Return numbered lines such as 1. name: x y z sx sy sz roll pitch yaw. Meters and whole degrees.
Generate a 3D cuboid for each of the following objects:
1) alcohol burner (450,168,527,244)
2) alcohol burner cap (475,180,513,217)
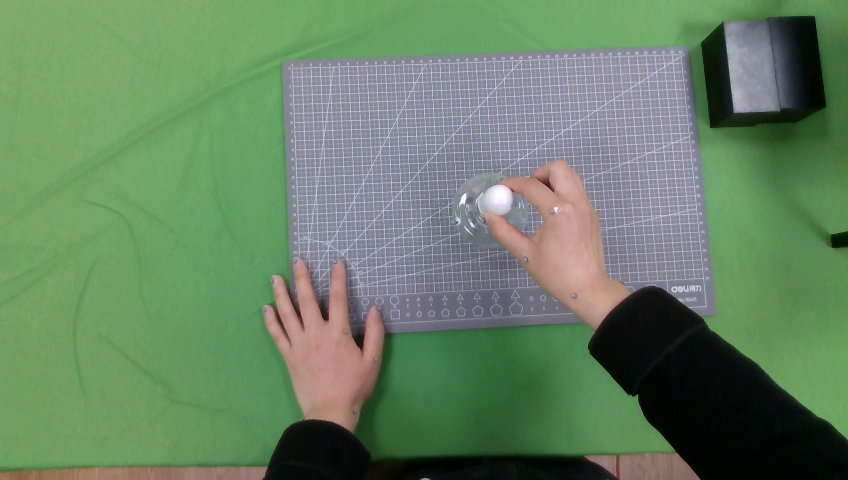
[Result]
1. alcohol burner: 0.065 -0.036 0.594 0.078 0.119 0.077 0 85 -1
2. alcohol burner cap: 0.066 -0.040 0.558 0.034 0.048 0.034 0 86 -4
